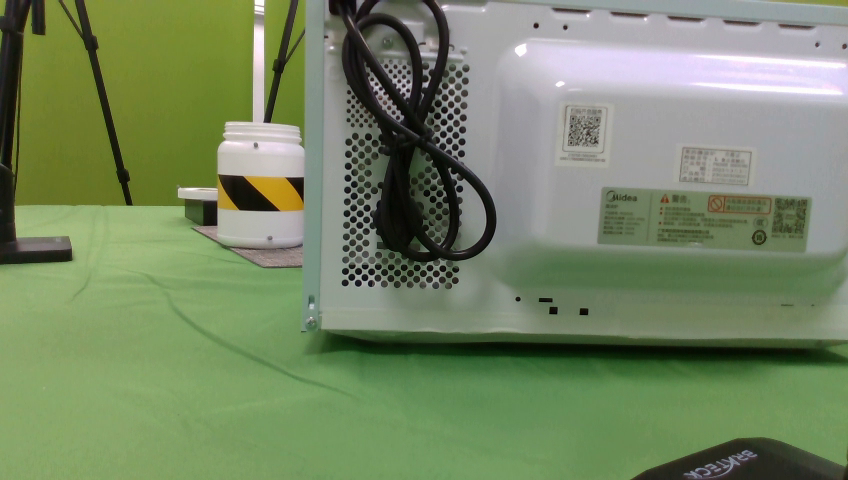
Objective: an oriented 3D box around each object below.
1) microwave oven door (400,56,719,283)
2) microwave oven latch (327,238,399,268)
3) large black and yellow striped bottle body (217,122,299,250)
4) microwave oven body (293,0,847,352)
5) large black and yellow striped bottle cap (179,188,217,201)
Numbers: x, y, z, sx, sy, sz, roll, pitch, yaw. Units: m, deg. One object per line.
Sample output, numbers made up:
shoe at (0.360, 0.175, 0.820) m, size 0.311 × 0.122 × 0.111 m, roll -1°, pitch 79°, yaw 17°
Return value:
microwave oven door at (0.155, -0.077, 0.698) m, size 0.356 × 0.243 × 0.039 m, roll 2°, pitch 8°, yaw -5°
microwave oven latch at (-0.069, 0.015, 0.694) m, size 0.079 × 0.029 × 0.030 m, roll 3°, pitch 7°, yaw -3°
large black and yellow striped bottle body at (-0.250, -0.084, 0.931) m, size 0.131 × 0.184 × 0.130 m, roll 2°, pitch 7°, yaw 0°
microwave oven body at (0.122, -0.055, 0.550) m, size 0.442 × 0.260 × 0.325 m, roll 3°, pitch 7°, yaw -5°
large black and yellow striped bottle cap at (-0.434, -0.093, 1.226) m, size 0.115 × 0.019 × 0.115 m, roll 3°, pitch 9°, yaw 0°
